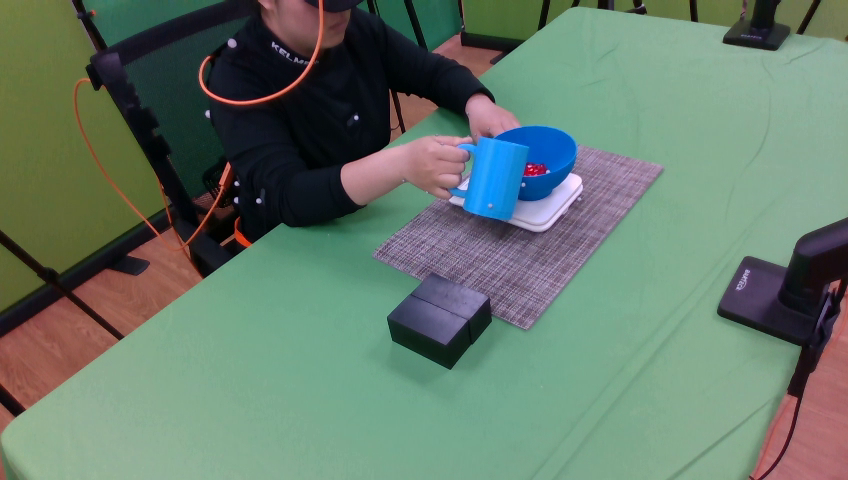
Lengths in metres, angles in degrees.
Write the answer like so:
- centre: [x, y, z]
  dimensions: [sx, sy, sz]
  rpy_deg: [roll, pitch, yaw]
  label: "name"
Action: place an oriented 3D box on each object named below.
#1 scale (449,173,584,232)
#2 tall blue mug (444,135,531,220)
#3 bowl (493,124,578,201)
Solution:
- centre: [0.156, -0.085, 1.040]
  dimensions: [0.199, 0.032, 0.149]
  rpy_deg: [22, 49, 33]
  label: "scale"
- centre: [0.090, -0.093, 0.875]
  dimensions: [0.108, 0.108, 0.077]
  rpy_deg: [8, 14, -18]
  label: "tall blue mug"
- centre: [0.176, -0.117, 0.991]
  dimensions: [0.151, 0.077, 0.150]
  rpy_deg: [-6, 41, 5]
  label: "bowl"
